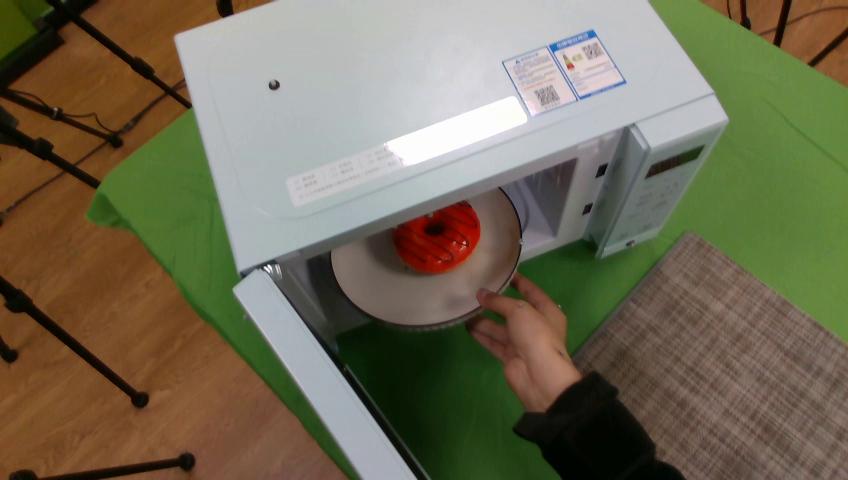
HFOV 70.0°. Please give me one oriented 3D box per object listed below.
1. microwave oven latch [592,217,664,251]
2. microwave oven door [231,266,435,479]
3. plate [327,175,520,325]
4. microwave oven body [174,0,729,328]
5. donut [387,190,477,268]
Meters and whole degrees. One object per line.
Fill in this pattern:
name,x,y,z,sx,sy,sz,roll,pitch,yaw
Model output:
microwave oven latch,0.241,-0.016,0.717,0.079,0.030,0.030,-21,67,-4
microwave oven door,-0.027,0.195,0.532,0.039,0.245,0.353,-38,69,-12
plate,0.000,0.001,0.658,0.209,0.038,0.207,-4,58,7
microwave oven body,0.015,-0.117,0.672,0.442,0.262,0.323,-21,67,-4
donut,0.009,-0.014,0.652,0.099,0.049,0.098,-4,57,6
